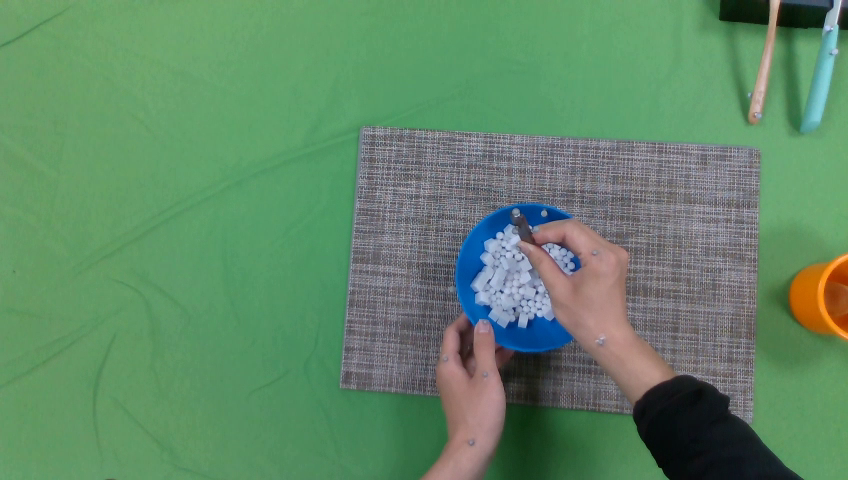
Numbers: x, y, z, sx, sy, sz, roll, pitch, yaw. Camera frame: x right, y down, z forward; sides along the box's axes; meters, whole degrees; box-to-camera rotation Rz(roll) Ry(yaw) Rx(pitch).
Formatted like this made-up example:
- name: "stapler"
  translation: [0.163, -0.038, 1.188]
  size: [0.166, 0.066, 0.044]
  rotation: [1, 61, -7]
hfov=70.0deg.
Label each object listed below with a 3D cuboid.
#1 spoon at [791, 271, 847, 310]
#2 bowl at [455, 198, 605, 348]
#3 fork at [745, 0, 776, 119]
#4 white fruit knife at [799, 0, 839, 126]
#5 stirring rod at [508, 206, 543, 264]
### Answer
- name: "spoon"
  translation: [0.468, 0.054, 0.590]
  size: [0.022, 0.192, 0.041]
  rotation: [9, 84, -41]
- name: "bowl"
  translation: [0.107, 0.036, 0.639]
  size: [0.151, 0.077, 0.151]
  rotation: [0, 85, 3]
- name: "fork"
  translation: [0.369, -0.235, 0.651]
  size: [0.028, 0.018, 0.208]
  rotation: [1, 105, 0]
- name: "white fruit knife"
  translation: [0.430, -0.227, 0.646]
  size: [0.016, 0.027, 0.208]
  rotation: [4, 102, 1]
- name: "stirring rod"
  translation: [0.099, -0.001, 0.578]
  size: [0.014, 0.177, 0.006]
  rotation: [20, 81, 21]
